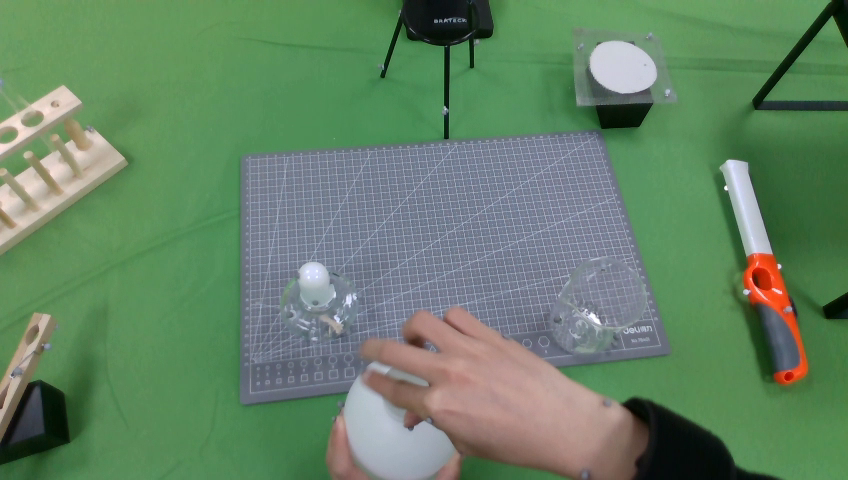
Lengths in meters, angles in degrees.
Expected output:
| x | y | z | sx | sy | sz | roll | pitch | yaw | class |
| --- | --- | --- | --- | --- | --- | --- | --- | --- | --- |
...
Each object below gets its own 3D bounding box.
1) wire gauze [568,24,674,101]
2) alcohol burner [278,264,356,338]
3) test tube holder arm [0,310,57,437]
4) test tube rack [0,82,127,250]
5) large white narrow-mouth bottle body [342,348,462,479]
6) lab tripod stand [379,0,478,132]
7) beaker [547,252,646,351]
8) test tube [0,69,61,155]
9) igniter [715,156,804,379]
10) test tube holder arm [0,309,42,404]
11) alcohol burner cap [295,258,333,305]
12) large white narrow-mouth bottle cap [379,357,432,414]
| x | y | z | sx | sy | sz | roll | pitch | yaw | class |
| --- | --- | --- | --- | --- | --- | --- | --- | --- | --- |
| 0.243 | -0.223 | 0.762 | 0.121 | 0.011 | 0.124 | 2 | 63 | -3 | wire gauze |
| -0.105 | 0.052 | 0.593 | 0.078 | 0.120 | 0.077 | 3 | 62 | -5 | alcohol burner |
| -0.368 | 0.146 | 0.531 | 0.013 | 0.015 | 0.177 | 8 | 64 | 5 | test tube holder arm |
| -0.450 | -0.054 | 0.638 | 0.066 | 0.086 | 0.242 | 40 | 68 | 15 | test tube rack |
| -0.019 | 0.147 | 0.511 | 0.102 | 0.196 | 0.101 | 2 | 63 | -3 | large white narrow-mouth bottle body |
| 0.015 | -0.226 | 0.731 | 0.148 | 0.132 | 0.147 | 2 | 64 | -5 | lab tripod stand |
| 0.166 | 0.067 | 0.613 | 0.084 | 0.101 | 0.073 | -4 | 63 | -5 | beaker |
| -0.414 | -0.136 | 0.625 | 0.017 | 0.151 | 0.017 | 0 | 62 | 0 | test tube |
| 0.382 | 0.022 | 0.695 | 0.057 | 0.025 | 0.274 | 5 | 63 | -13 | igniter |
| -0.367 | 0.105 | 0.551 | 0.010 | 0.015 | 0.087 | 6 | 64 | 4 | test tube holder arm |
| -0.103 | 0.036 | 0.560 | 0.034 | 0.048 | 0.033 | 1 | 58 | -1 | alcohol burner cap |
| -0.014 | 0.101 | 0.424 | 0.038 | 0.024 | 0.037 | 2 | 63 | -3 | large white narrow-mouth bottle cap |
